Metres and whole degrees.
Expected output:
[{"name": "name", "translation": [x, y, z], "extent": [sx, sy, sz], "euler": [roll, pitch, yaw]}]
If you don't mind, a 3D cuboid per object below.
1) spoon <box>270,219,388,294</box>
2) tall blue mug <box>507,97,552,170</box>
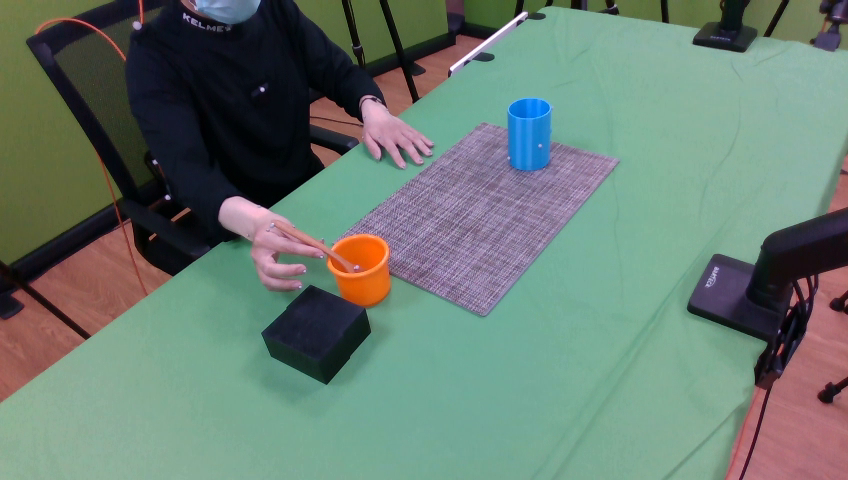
[{"name": "spoon", "translation": [-0.133, 0.022, 0.865], "extent": [0.021, 0.195, 0.041], "euler": [-38, 25, 37]}, {"name": "tall blue mug", "translation": [0.179, -0.198, 1.101], "extent": [0.078, 0.108, 0.106], "euler": [-36, 49, -28]}]
